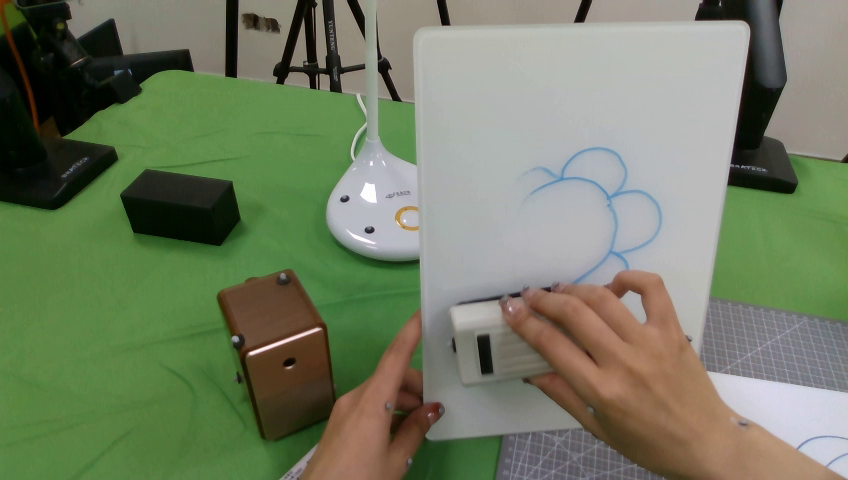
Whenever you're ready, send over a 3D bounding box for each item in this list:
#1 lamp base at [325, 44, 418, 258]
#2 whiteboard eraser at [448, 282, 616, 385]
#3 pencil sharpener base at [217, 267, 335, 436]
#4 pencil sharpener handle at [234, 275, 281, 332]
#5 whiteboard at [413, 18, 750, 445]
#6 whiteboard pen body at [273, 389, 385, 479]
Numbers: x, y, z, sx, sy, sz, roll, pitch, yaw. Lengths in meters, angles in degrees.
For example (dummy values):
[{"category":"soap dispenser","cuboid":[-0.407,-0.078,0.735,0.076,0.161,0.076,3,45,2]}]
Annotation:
[{"category":"lamp base","cuboid":[-0.036,-0.100,0.637,0.161,0.182,0.177,-22,43,-26]},{"category":"whiteboard eraser","cuboid":[0.075,0.063,0.421,0.113,0.056,0.041,-8,18,-1]},{"category":"pencil sharpener base","cuboid":[-0.113,0.085,0.469,0.061,0.108,0.076,-19,44,-22]},{"category":"pencil sharpener handle","cuboid":[-0.136,0.047,0.495,0.036,0.068,0.030,-25,46,-17]},{"category":"whiteboard","cuboid":[0.098,-0.014,0.488,0.217,0.307,0.143,-3,21,-5]},{"category":"whiteboard pen body","cuboid":[-0.079,0.157,0.449,0.017,0.017,0.140,27,42,27]}]
